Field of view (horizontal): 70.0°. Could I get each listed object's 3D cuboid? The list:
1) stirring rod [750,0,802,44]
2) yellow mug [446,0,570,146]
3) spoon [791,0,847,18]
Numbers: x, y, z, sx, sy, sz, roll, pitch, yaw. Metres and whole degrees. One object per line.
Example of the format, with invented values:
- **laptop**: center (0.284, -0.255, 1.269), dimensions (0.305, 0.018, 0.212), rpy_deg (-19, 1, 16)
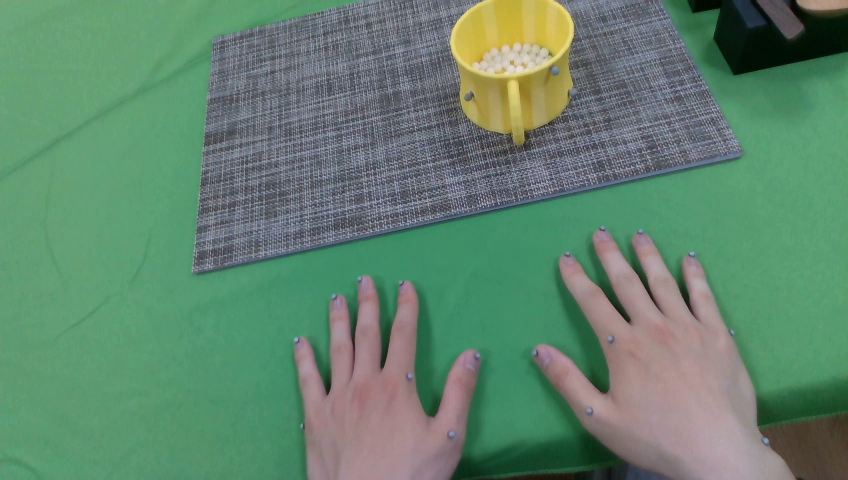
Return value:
- **stirring rod**: center (0.259, -0.222, 0.498), dimensions (0.014, 0.006, 0.174), rpy_deg (-35, 52, 30)
- **yellow mug**: center (0.073, -0.137, 0.507), dimensions (0.100, 0.064, 0.129), rpy_deg (-5, 59, 9)
- **spoon**: center (0.298, -0.239, 0.496), dimensions (0.041, 0.022, 0.192), rpy_deg (-10, 56, 10)
